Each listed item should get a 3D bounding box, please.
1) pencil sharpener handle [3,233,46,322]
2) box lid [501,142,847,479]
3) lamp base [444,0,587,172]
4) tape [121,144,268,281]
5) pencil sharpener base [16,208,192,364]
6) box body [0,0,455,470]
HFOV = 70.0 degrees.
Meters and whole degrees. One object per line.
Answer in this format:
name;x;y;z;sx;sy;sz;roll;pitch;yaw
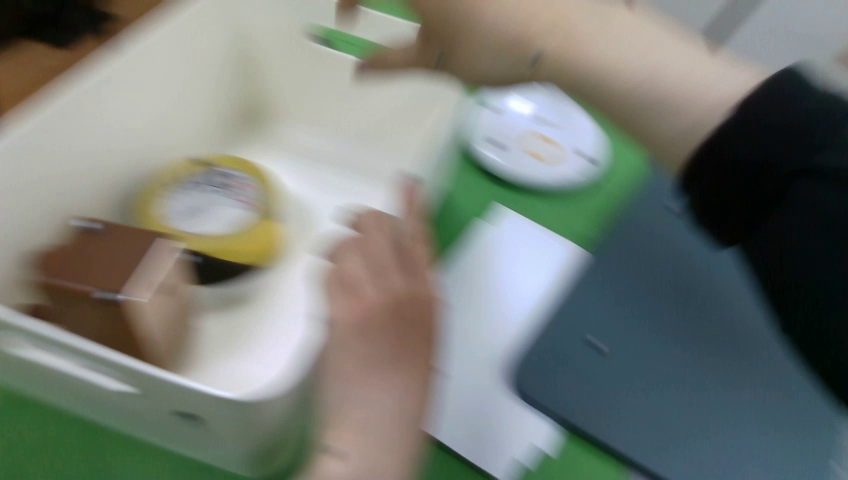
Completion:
pencil sharpener handle;-0.271;0.024;0.412;0.030;0.068;0.036;11;20;2
box lid;0.257;0.056;0.557;0.262;0.015;0.370;29;53;15
lamp base;0.108;-0.192;0.622;0.161;0.181;0.177;-3;50;-11
tape;-0.192;-0.027;0.518;0.117;0.053;0.115;5;51;-6
pencil sharpener base;-0.221;0.037;0.427;0.076;0.108;0.061;11;51;2
box body;-0.150;-0.040;0.472;0.254;0.161;0.361;18;51;5
